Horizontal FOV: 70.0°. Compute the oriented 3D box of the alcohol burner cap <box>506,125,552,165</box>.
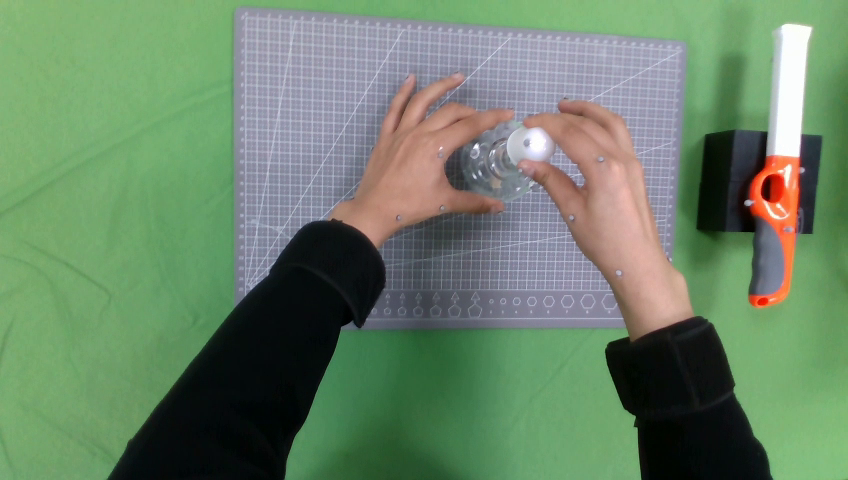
[{"bbox_3d":[0.085,-0.075,0.483,0.034,0.047,0.034,0,101,-1],"label":"alcohol burner cap"}]

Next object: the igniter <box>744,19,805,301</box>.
[{"bbox_3d":[0.347,-0.076,0.598,0.057,0.025,0.276,3,92,-9],"label":"igniter"}]

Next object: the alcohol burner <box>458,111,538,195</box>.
[{"bbox_3d":[0.073,-0.079,0.552,0.078,0.118,0.078,-1,96,-11],"label":"alcohol burner"}]
